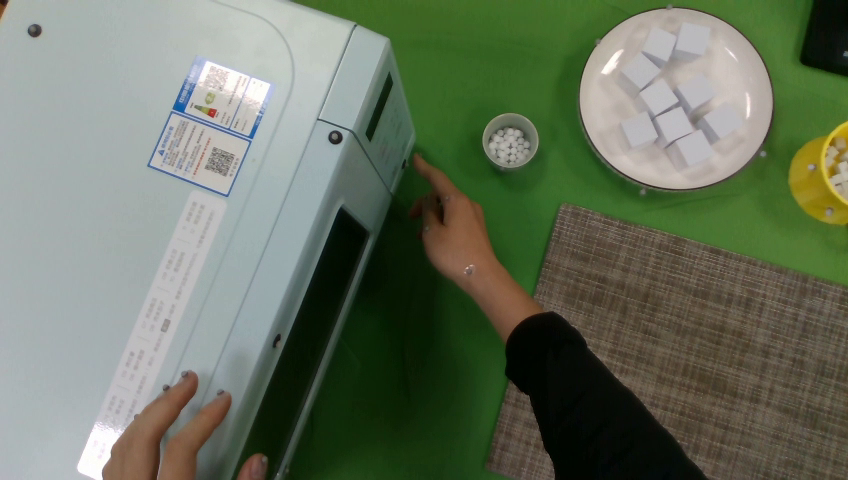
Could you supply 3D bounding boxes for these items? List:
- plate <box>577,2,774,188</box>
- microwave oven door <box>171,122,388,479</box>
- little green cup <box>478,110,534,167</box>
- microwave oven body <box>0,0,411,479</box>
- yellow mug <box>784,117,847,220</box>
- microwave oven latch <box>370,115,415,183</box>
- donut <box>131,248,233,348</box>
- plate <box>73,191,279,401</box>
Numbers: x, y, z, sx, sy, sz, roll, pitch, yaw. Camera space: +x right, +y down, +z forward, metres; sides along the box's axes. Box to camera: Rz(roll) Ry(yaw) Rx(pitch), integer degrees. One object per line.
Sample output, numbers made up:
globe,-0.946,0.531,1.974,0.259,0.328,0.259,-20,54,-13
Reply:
plate,0.272,-0.157,0.670,0.207,0.039,0.207,0,83,4
microwave oven door,-0.125,0.091,0.545,0.039,0.244,0.355,20,85,6
little green cup,0.091,-0.110,0.675,0.061,0.039,0.061,0,86,6
microwave oven body,-0.245,0.001,0.568,0.325,0.261,0.441,20,86,5
yellow mug,0.452,-0.060,0.635,0.100,0.064,0.130,-20,83,1
microwave oven latch,-0.039,-0.103,0.664,0.030,0.029,0.079,31,87,6
donut,-0.238,0.057,0.600,0.099,0.048,0.099,0,87,1
plate,-0.247,0.056,0.616,0.209,0.038,0.208,0,84,4
